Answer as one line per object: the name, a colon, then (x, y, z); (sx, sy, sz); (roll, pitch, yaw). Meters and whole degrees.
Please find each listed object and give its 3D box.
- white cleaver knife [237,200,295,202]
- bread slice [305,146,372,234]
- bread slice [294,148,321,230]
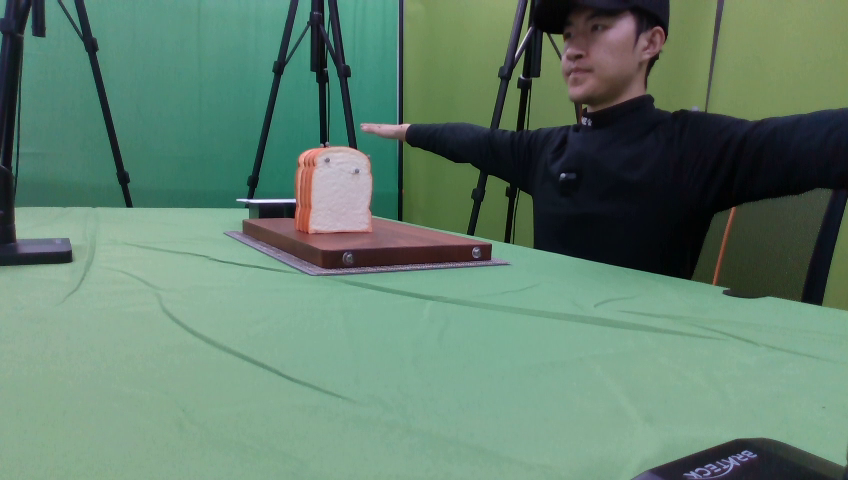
white cleaver knife: (-0.263, -0.087, 1.300); (0.065, 0.021, 0.288); (9, 8, 42)
bread slice: (-0.131, -0.076, 0.924); (0.107, 0.134, 0.018); (-5, 10, -32)
bread slice: (-0.158, -0.081, 0.970); (0.105, 0.131, 0.019); (-1, 2, -33)
